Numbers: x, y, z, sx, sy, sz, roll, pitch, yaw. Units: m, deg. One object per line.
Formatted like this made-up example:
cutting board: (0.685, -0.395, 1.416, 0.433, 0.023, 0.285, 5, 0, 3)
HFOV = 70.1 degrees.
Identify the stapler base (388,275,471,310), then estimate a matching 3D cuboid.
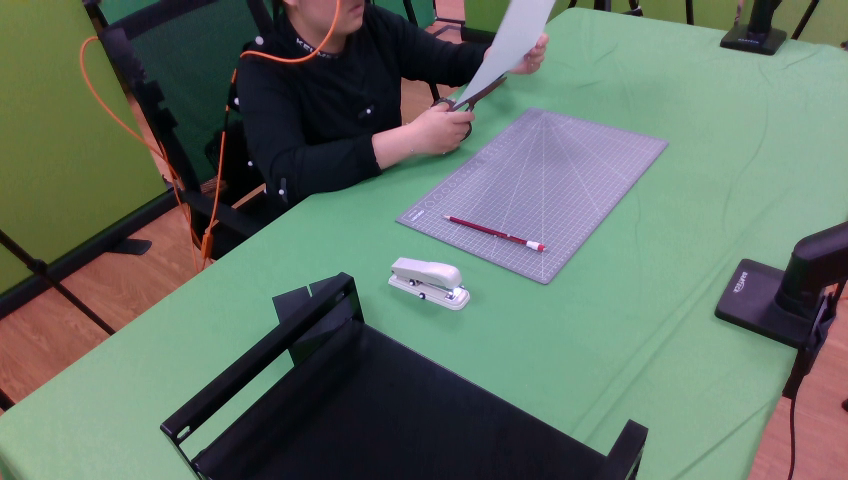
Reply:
stapler base: (0.007, 0.066, 0.897, 0.129, 0.024, 0.041, 17, 44, 29)

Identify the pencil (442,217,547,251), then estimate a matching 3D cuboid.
pencil: (0.110, -0.012, 0.980, 0.192, 0.012, 0.012, 18, 46, 30)

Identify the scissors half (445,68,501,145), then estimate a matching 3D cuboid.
scissors half: (0.096, -0.252, 1.152, 0.040, 0.175, 0.013, 29, 29, -7)

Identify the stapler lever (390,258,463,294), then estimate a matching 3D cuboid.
stapler lever: (0.003, 0.047, 0.881, 0.117, 0.040, 0.027, 17, 44, 29)

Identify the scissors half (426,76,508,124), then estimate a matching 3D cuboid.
scissors half: (0.080, -0.269, 1.147, 0.174, 0.040, 0.013, -21, 19, 21)
